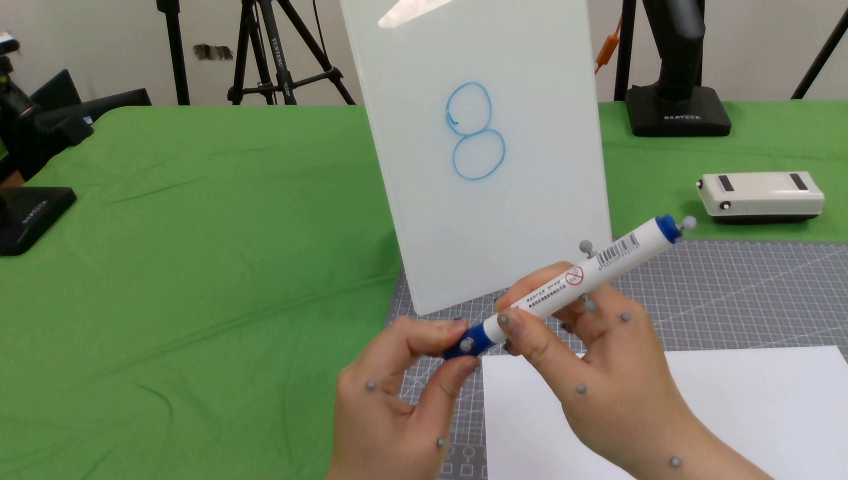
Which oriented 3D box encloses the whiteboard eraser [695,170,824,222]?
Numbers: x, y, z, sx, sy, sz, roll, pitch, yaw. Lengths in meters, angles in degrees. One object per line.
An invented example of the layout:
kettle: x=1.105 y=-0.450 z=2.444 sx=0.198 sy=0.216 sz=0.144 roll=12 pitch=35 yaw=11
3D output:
whiteboard eraser: x=0.353 y=-0.046 z=0.643 sx=0.112 sy=0.042 sz=0.055 roll=0 pitch=42 yaw=6

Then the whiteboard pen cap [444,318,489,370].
whiteboard pen cap: x=0.028 y=0.058 z=0.345 sx=0.018 sy=0.033 sz=0.018 roll=32 pitch=30 yaw=-21

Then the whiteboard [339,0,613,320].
whiteboard: x=0.044 y=-0.114 z=0.604 sx=0.217 sy=0.307 sz=0.142 roll=-17 pitch=20 yaw=-12

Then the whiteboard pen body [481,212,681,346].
whiteboard pen body: x=0.068 y=0.029 z=0.316 sx=0.141 sy=0.017 sz=0.017 roll=-37 pitch=28 yaw=30
